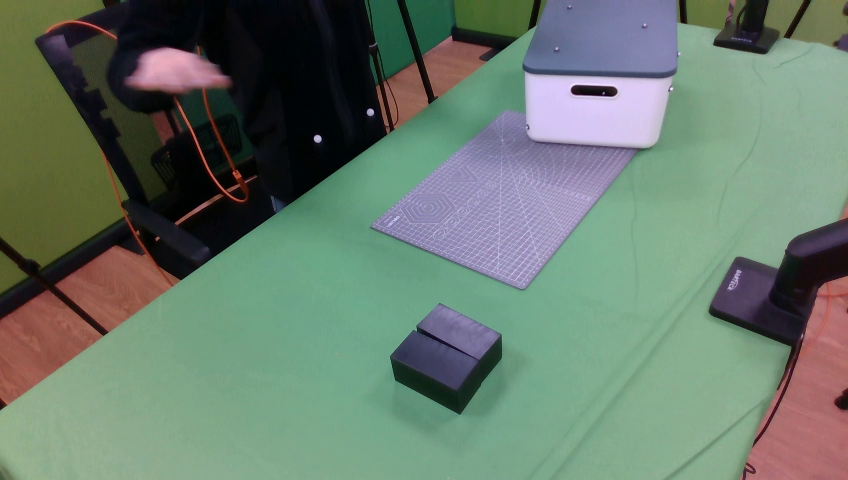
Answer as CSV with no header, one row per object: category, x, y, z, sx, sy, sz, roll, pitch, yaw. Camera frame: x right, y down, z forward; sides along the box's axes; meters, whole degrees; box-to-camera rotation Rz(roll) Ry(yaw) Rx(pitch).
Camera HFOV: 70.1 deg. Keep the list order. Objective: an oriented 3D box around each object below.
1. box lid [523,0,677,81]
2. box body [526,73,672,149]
box lid,0.347,-0.397,1.163,0.262,0.015,0.371,7,42,16
box body,0.356,-0.342,1.212,0.253,0.161,0.363,7,42,17
